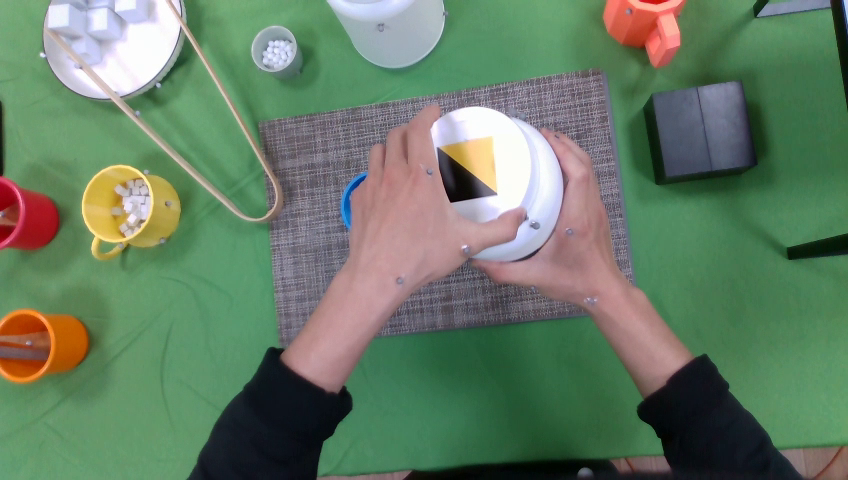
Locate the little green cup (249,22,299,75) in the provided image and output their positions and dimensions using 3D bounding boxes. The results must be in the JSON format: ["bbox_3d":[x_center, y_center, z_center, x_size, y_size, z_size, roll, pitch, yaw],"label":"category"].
[{"bbox_3d":[-0.195,-0.249,0.799,0.061,0.039,0.061,-1,86,8],"label":"little green cup"}]

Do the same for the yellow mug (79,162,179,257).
[{"bbox_3d":[-0.393,-0.033,0.793,0.099,0.064,0.131,32,91,9],"label":"yellow mug"}]

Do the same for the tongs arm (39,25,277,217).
[{"bbox_3d":[-0.348,-0.160,0.792,0.384,0.026,0.051,45,88,2],"label":"tongs arm"}]

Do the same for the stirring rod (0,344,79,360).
[{"bbox_3d":[-0.532,0.137,0.758,0.006,0.177,0.014,-23,61,48],"label":"stirring rod"}]

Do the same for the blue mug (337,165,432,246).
[{"bbox_3d":[-0.034,-0.033,0.722,0.116,0.106,0.082,19,87,9],"label":"blue mug"}]

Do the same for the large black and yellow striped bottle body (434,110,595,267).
[{"bbox_3d":[0.076,-0.046,0.574,0.130,0.185,0.130,-4,81,29],"label":"large black and yellow striped bottle body"}]

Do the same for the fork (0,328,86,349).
[{"bbox_3d":[-0.542,0.120,0.757,0.209,0.018,0.028,10,84,-35],"label":"fork"}]

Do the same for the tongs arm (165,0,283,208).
[{"bbox_3d":[-0.283,-0.214,0.792,0.028,0.028,0.387,-31,89,-5],"label":"tongs arm"}]

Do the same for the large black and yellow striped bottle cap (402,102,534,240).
[{"bbox_3d":[0.034,-0.058,0.502,0.114,0.019,0.114,-4,81,27],"label":"large black and yellow striped bottle cap"}]

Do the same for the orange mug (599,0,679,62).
[{"bbox_3d":[0.262,-0.279,0.710,0.083,0.101,0.125,-17,79,6],"label":"orange mug"}]

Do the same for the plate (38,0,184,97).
[{"bbox_3d":[-0.424,-0.295,0.833,0.207,0.039,0.207,-1,86,8],"label":"plate"}]

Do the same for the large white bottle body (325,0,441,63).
[{"bbox_3d":[-0.054,-0.303,0.710,0.130,0.185,0.130,-1,84,8],"label":"large white bottle body"}]

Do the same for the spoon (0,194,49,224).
[{"bbox_3d":[-0.590,-0.019,0.779,0.194,0.022,0.041,-25,78,-40],"label":"spoon"}]
